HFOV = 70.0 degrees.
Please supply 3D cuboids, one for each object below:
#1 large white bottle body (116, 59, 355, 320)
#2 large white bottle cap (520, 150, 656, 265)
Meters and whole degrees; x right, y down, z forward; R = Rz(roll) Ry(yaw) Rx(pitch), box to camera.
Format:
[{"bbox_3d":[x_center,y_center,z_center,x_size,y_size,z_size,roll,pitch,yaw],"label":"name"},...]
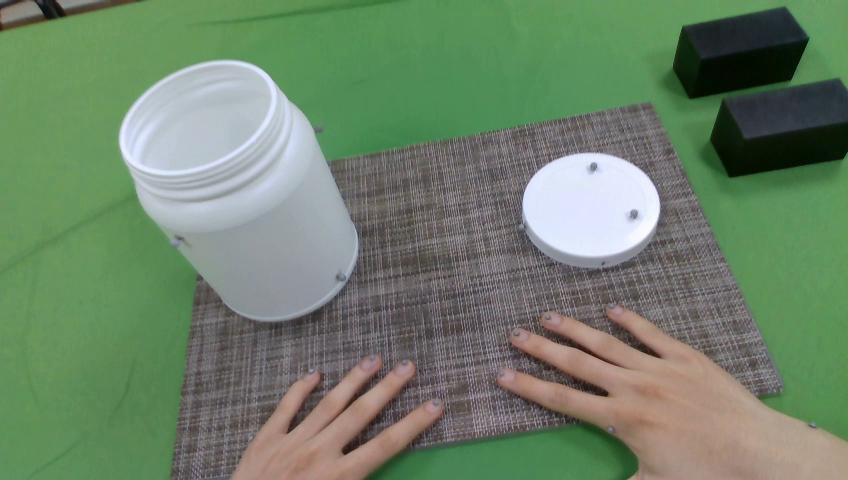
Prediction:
[{"bbox_3d":[-0.137,-0.033,0.473,0.130,0.186,0.129,-5,55,7],"label":"large white bottle body"},{"bbox_3d":[0.140,-0.031,0.525,0.115,0.018,0.113,-4,56,7],"label":"large white bottle cap"}]
